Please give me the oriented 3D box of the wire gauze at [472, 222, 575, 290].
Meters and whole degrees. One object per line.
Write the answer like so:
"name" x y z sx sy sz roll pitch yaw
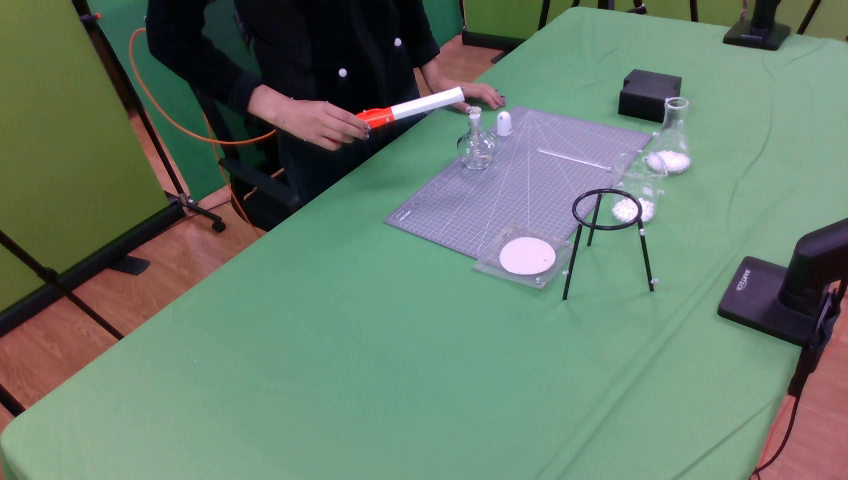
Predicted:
"wire gauze" 0.158 0.024 0.933 0.120 0.011 0.125 21 49 31

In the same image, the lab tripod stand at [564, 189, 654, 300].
"lab tripod stand" 0.251 0.003 0.845 0.148 0.132 0.147 -7 39 6

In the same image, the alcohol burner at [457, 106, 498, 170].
"alcohol burner" 0.097 -0.192 1.117 0.078 0.119 0.077 -7 39 6

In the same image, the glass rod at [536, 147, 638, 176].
"glass rod" 0.294 -0.145 1.104 0.198 0.008 0.008 22 50 31

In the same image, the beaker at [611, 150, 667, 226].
"beaker" 0.337 -0.079 0.953 0.083 0.101 0.074 25 51 33

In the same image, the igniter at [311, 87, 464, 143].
"igniter" -0.066 -0.220 1.065 0.277 0.025 0.057 -16 39 0

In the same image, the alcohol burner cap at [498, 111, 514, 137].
"alcohol burner cap" 0.163 -0.235 1.211 0.034 0.048 0.033 -6 40 6

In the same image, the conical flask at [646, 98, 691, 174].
"conical flask" 0.426 -0.180 1.037 0.075 0.122 0.075 -5 40 5
